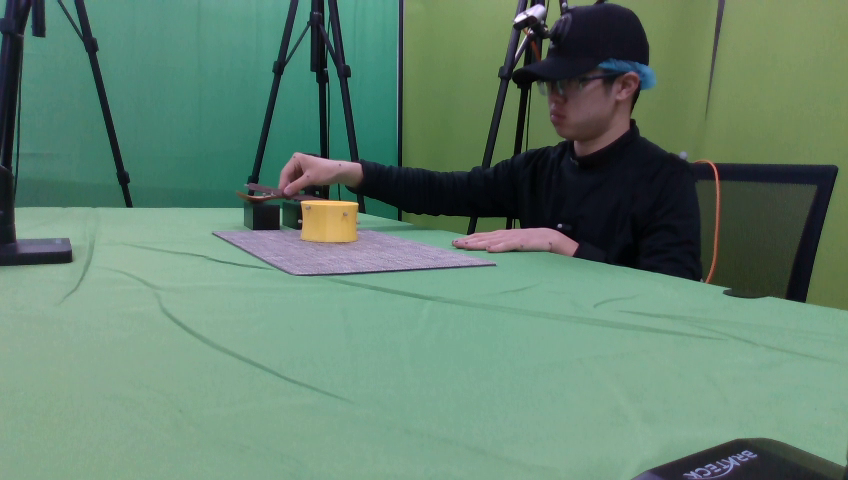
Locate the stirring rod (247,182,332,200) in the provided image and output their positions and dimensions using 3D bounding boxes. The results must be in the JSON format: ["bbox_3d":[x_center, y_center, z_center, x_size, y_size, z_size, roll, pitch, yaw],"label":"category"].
[{"bbox_3d":[-0.263,-0.092,1.200,0.177,0.014,0.006,10,-17,-33],"label":"stirring rod"}]

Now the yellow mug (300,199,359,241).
[{"bbox_3d":[-0.157,-0.036,1.060,0.099,0.064,0.131,6,7,27],"label":"yellow mug"}]

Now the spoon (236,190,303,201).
[{"bbox_3d":[-0.290,-0.088,1.248,0.195,0.021,0.041,0,6,-32],"label":"spoon"}]
